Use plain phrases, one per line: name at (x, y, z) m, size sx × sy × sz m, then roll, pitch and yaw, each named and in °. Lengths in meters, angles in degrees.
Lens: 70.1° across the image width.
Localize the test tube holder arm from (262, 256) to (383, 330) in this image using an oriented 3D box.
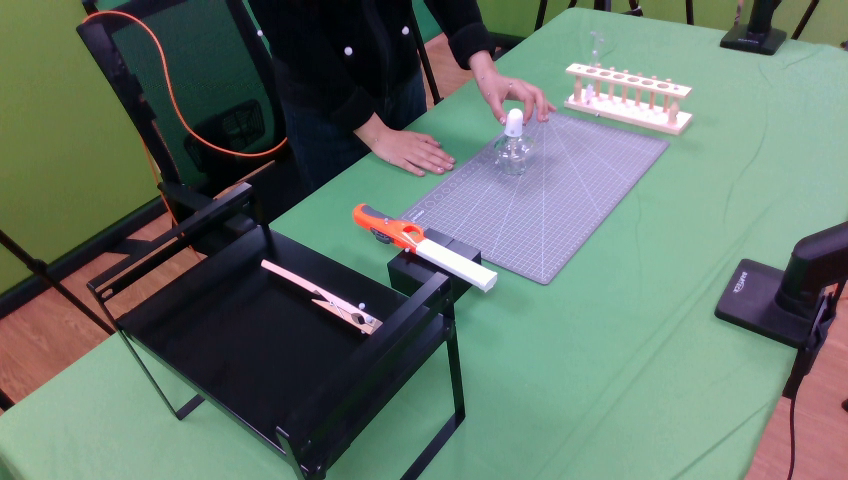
test tube holder arm at (-0.113, 0.054, 0.647) m, size 0.177 × 0.015 × 0.013 m, roll 26°, pitch 80°, yaw 33°

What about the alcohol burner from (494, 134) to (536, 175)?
alcohol burner at (0.163, -0.179, 1.087) m, size 0.078 × 0.119 × 0.077 m, roll -5°, pitch 39°, yaw 5°

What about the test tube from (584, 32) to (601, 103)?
test tube at (0.333, -0.338, 1.198) m, size 0.017 × 0.151 × 0.017 m, roll -3°, pitch 45°, yaw 3°

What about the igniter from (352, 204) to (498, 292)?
igniter at (-0.009, 0.005, 0.895) m, size 0.274 × 0.025 × 0.057 m, roll 27°, pitch 48°, yaw 32°

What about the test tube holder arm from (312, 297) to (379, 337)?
test tube holder arm at (-0.082, 0.075, 0.622) m, size 0.087 × 0.015 × 0.010 m, roll 27°, pitch 81°, yaw 33°

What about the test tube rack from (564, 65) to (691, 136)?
test tube rack at (0.404, -0.288, 1.204) m, size 0.240 × 0.085 × 0.067 m, roll 24°, pitch 49°, yaw 32°

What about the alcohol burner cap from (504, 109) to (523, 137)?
alcohol burner cap at (0.160, -0.207, 1.062) m, size 0.034 × 0.048 × 0.033 m, roll 1°, pitch 41°, yaw 0°
